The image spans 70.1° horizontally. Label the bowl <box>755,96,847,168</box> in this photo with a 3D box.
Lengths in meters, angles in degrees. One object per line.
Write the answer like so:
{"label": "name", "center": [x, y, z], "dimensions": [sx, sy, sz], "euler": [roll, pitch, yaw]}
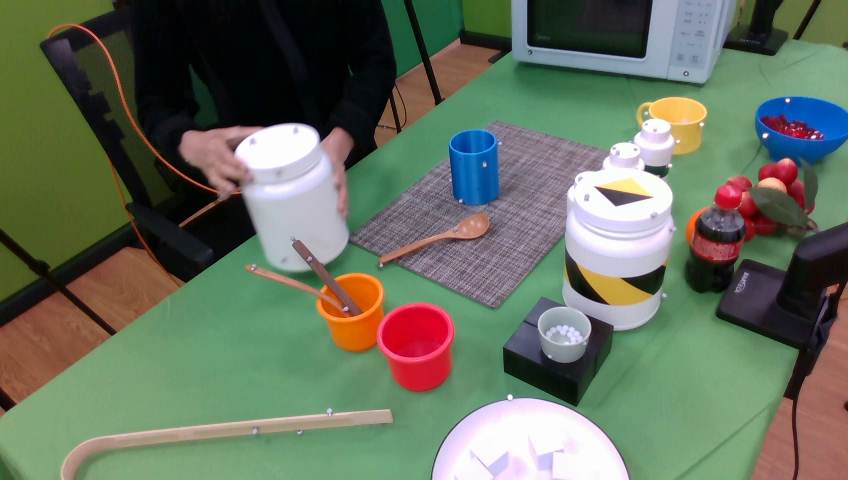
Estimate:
{"label": "bowl", "center": [0.645, -0.178, 1.041], "dimensions": [0.151, 0.077, 0.150], "euler": [-5, 40, 4]}

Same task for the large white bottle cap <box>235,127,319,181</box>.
{"label": "large white bottle cap", "center": [-0.204, -0.121, 0.839], "dimensions": [0.115, 0.018, 0.114], "euler": [-4, 40, 4]}

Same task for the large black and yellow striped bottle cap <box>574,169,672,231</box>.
{"label": "large black and yellow striped bottle cap", "center": [0.242, -0.051, 0.738], "dimensions": [0.115, 0.019, 0.114], "euler": [-4, 37, 3]}

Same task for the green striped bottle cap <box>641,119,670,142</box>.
{"label": "green striped bottle cap", "center": [0.371, -0.175, 0.968], "dimensions": [0.044, 0.020, 0.044], "euler": [-4, 42, 4]}

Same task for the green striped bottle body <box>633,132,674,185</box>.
{"label": "green striped bottle body", "center": [0.376, -0.135, 1.001], "dimensions": [0.063, 0.120, 0.063], "euler": [-5, 40, 5]}

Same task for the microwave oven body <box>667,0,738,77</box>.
{"label": "microwave oven body", "center": [0.462, -0.552, 1.369], "dimensions": [0.439, 0.261, 0.326], "euler": [15, 45, 26]}

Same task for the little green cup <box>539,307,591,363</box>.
{"label": "little green cup", "center": [0.167, 0.114, 0.721], "dimensions": [0.061, 0.039, 0.061], "euler": [-4, 43, 4]}

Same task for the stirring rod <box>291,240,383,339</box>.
{"label": "stirring rod", "center": [-0.118, 0.068, 0.826], "dimensions": [0.176, 0.006, 0.014], "euler": [48, 59, -4]}

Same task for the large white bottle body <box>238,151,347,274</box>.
{"label": "large white bottle body", "center": [-0.194, -0.057, 0.893], "dimensions": [0.130, 0.185, 0.130], "euler": [-5, 39, 4]}

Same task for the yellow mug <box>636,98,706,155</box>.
{"label": "yellow mug", "center": [0.453, -0.217, 1.128], "dimensions": [0.100, 0.064, 0.129], "euler": [-34, 46, -27]}

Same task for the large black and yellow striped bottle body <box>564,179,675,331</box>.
{"label": "large black and yellow striped bottle body", "center": [0.253, 0.014, 0.793], "dimensions": [0.131, 0.185, 0.130], "euler": [-5, 40, 4]}

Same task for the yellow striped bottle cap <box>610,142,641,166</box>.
{"label": "yellow striped bottle cap", "center": [0.309, -0.131, 0.925], "dimensions": [0.044, 0.019, 0.044], "euler": [-4, 46, 5]}

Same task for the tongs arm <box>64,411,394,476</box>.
{"label": "tongs arm", "center": [-0.228, 0.241, 0.715], "dimensions": [0.385, 0.026, 0.050], "euler": [-5, 44, 5]}

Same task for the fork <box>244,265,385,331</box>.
{"label": "fork", "center": [-0.142, 0.078, 0.806], "dimensions": [0.209, 0.018, 0.028], "euler": [30, 34, -24]}

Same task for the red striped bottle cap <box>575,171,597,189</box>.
{"label": "red striped bottle cap", "center": [0.242, -0.081, 0.876], "dimensions": [0.044, 0.018, 0.044], "euler": [-5, 44, 5]}

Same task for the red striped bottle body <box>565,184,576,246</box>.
{"label": "red striped bottle body", "center": [0.247, -0.041, 0.910], "dimensions": [0.063, 0.120, 0.062], "euler": [-3, 39, 3]}

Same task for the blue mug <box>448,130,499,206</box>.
{"label": "blue mug", "center": [0.091, -0.134, 1.052], "dimensions": [0.082, 0.106, 0.116], "euler": [4, 41, 14]}

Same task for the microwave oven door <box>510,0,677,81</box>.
{"label": "microwave oven door", "center": [0.354, -0.478, 1.290], "dimensions": [0.353, 0.245, 0.039], "euler": [15, 45, 25]}

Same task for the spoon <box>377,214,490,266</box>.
{"label": "spoon", "center": [0.015, 0.001, 0.966], "dimensions": [0.194, 0.022, 0.041], "euler": [-18, 62, -12]}

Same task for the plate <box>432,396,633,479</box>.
{"label": "plate", "center": [0.112, 0.261, 0.634], "dimensions": [0.209, 0.038, 0.208], "euler": [-5, 40, 4]}

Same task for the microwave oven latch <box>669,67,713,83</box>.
{"label": "microwave oven latch", "center": [0.556, -0.348, 1.262], "dimensions": [0.078, 0.029, 0.030], "euler": [15, 46, 26]}

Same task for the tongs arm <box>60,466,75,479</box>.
{"label": "tongs arm", "center": [-0.239, 0.301, 0.649], "dimensions": [0.386, 0.028, 0.028], "euler": [6, 49, 16]}

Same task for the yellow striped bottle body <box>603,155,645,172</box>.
{"label": "yellow striped bottle body", "center": [0.314, -0.090, 0.957], "dimensions": [0.063, 0.121, 0.062], "euler": [-4, 40, 4]}
